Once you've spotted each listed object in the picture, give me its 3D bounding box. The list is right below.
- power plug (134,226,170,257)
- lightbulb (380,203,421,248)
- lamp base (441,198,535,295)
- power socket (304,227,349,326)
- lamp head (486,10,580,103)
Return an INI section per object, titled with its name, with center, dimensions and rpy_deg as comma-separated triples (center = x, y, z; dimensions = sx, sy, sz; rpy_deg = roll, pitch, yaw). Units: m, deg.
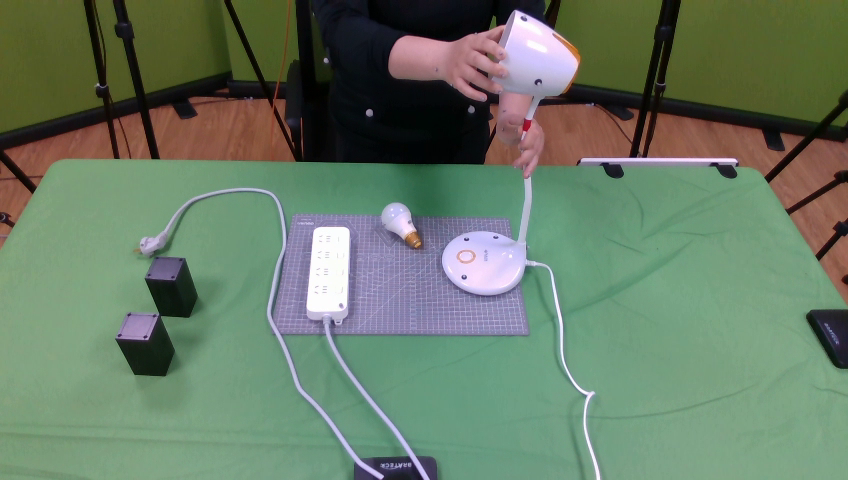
[power plug]
center = -0.515, 0.005, 1.153
dimensions = 0.052, 0.035, 0.072
rpy_deg = -6, 24, 7
[lightbulb]
center = -0.042, -0.026, 1.197
dimensions = 0.059, 0.060, 0.107
rpy_deg = -29, 68, -28
[lamp base]
center = 0.130, -0.012, 1.105
dimensions = 0.179, 0.181, 0.159
rpy_deg = -1, 46, -9
[power socket]
center = -0.177, 0.059, 1.115
dimensions = 0.072, 0.033, 0.225
rpy_deg = -1, 46, -4
[lamp head]
center = 0.162, -0.258, 0.888
dimensions = 0.123, 0.113, 0.112
rpy_deg = 22, 45, -9
